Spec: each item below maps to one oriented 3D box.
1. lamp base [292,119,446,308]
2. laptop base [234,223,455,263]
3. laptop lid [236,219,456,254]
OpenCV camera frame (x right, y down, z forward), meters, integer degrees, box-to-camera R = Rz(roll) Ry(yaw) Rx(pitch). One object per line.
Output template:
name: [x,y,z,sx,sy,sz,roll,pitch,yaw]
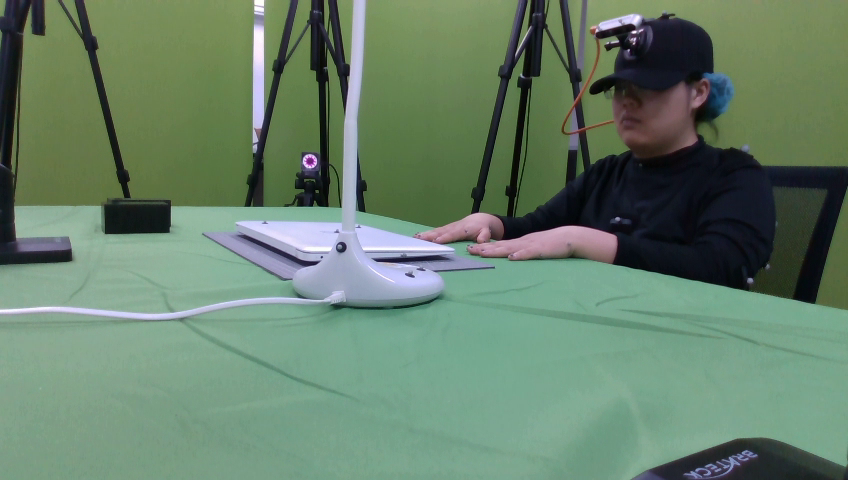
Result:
lamp base: [-0.056,-0.030,0.616,0.160,0.180,0.179,3,10,8]
laptop base: [-0.141,0.003,0.959,0.237,0.023,0.352,2,6,-32]
laptop lid: [-0.139,-0.008,0.959,0.243,0.013,0.355,1,7,-30]
